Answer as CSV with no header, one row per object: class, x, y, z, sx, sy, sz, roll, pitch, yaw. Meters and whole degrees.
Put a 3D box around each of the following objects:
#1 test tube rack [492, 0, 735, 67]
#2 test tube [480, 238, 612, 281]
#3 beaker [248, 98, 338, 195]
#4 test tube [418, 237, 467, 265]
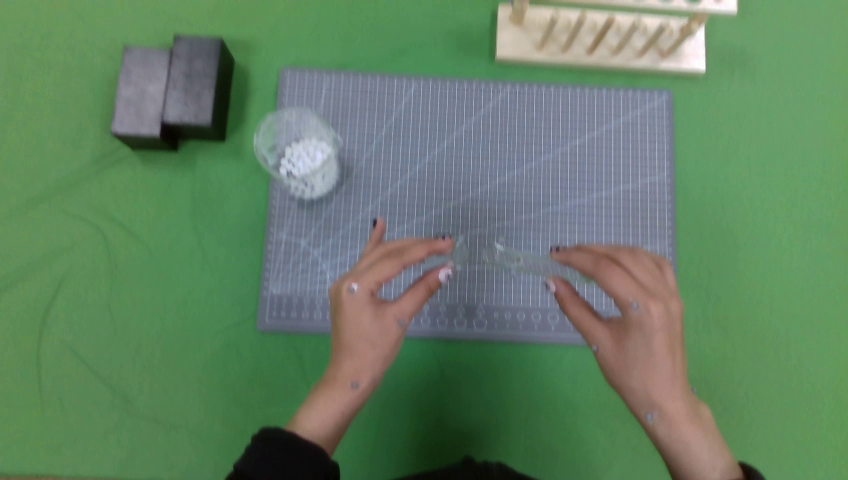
test tube rack,0.202,-0.248,0.667,0.242,0.085,0.066,3,81,-2
test tube,0.100,0.017,0.470,0.151,0.017,0.017,11,77,-40
beaker,-0.126,-0.090,0.617,0.084,0.100,0.073,-5,81,-4
test tube,0.013,0.012,0.514,0.017,0.150,0.017,1,86,-9
